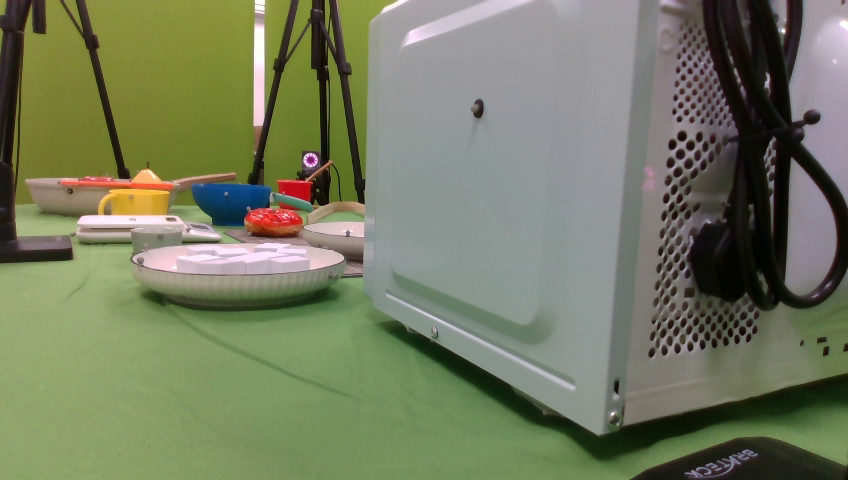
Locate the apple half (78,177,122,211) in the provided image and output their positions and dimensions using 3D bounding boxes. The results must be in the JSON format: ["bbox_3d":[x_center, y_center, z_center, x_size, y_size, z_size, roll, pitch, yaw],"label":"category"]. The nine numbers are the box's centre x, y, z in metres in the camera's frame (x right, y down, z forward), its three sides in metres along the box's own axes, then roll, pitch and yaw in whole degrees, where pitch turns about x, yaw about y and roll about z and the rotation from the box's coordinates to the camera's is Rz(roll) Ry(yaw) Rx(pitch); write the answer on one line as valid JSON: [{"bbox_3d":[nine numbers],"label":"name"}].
[{"bbox_3d":[-0.698,-0.099,1.298,0.081,0.074,0.053,-9,9,-40],"label":"apple half"}]

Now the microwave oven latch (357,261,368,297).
[{"bbox_3d":[-0.019,0.033,0.531,0.079,0.029,0.030,-1,7,-27],"label":"microwave oven latch"}]

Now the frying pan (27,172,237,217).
[{"bbox_3d":[-0.624,-0.118,1.387,0.305,0.102,0.490,8,17,32],"label":"frying pan"}]

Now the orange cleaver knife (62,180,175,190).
[{"bbox_3d":[-0.600,-0.110,1.193,0.212,0.012,0.077,1,8,-13],"label":"orange cleaver knife"}]

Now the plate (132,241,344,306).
[{"bbox_3d":[-0.187,0.033,0.625,0.208,0.039,0.207,2,7,0],"label":"plate"}]

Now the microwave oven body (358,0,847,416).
[{"bbox_3d":[0.211,-0.047,0.475,0.444,0.260,0.324,-1,7,-28],"label":"microwave oven body"}]

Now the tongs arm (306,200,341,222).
[{"bbox_3d":[-0.234,-0.069,1.414,0.028,0.028,0.387,-5,7,1],"label":"tongs arm"}]

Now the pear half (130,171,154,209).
[{"bbox_3d":[-0.640,-0.113,1.361,0.031,0.088,0.070,5,10,5],"label":"pear half"}]

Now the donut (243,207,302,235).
[{"bbox_3d":[-0.261,-0.032,1.043,0.099,0.048,0.099,4,9,0],"label":"donut"}]

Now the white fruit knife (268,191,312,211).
[{"bbox_3d":[-0.364,-0.105,1.464,0.208,0.027,0.016,15,0,-34],"label":"white fruit knife"}]

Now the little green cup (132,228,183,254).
[{"bbox_3d":[-0.342,0.006,0.779,0.061,0.038,0.061,2,8,0],"label":"little green cup"}]

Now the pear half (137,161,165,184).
[{"bbox_3d":[-0.604,-0.120,1.354,0.056,0.110,0.076,3,11,7],"label":"pear half"}]

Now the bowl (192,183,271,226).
[{"bbox_3d":[-0.382,-0.071,1.202,0.151,0.077,0.151,3,7,0],"label":"bowl"}]

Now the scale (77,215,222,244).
[{"bbox_3d":[-0.434,-0.019,0.963,0.202,0.031,0.148,-1,9,-27],"label":"scale"}]

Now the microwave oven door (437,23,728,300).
[{"bbox_3d":[0.180,-0.072,0.621,0.358,0.243,0.039,-2,9,-29],"label":"microwave oven door"}]

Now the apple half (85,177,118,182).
[{"bbox_3d":[-0.673,-0.096,1.269,0.082,0.081,0.032,-4,6,-40],"label":"apple half"}]

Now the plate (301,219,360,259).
[{"bbox_3d":[-0.077,-0.002,0.893,0.209,0.038,0.209,3,8,0],"label":"plate"}]

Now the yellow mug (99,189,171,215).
[{"bbox_3d":[-0.518,-0.055,1.080,0.099,0.064,0.131,7,10,26],"label":"yellow mug"}]

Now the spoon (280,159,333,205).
[{"bbox_3d":[-0.316,-0.159,1.640,0.194,0.022,0.041,-50,32,-20],"label":"spoon"}]

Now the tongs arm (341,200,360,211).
[{"bbox_3d":[-0.148,-0.070,1.429,0.051,0.026,0.383,-4,8,-14],"label":"tongs arm"}]

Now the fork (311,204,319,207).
[{"bbox_3d":[-0.356,-0.105,1.526,0.208,0.018,0.028,16,-5,-41],"label":"fork"}]
